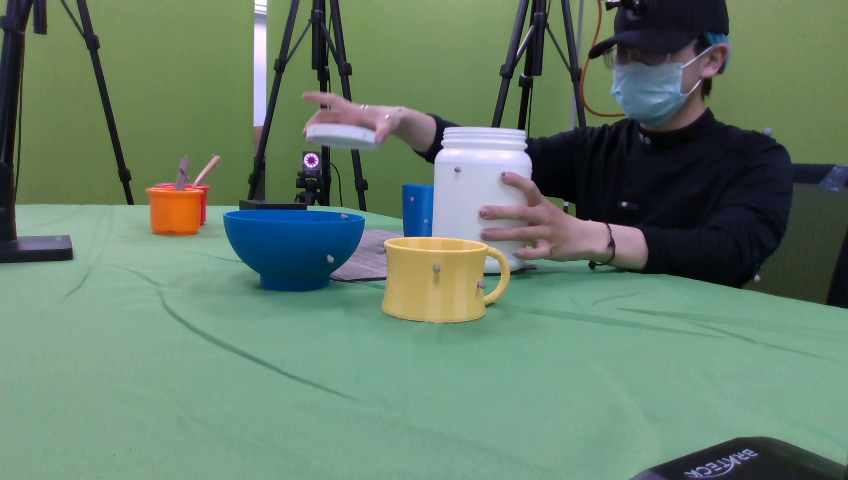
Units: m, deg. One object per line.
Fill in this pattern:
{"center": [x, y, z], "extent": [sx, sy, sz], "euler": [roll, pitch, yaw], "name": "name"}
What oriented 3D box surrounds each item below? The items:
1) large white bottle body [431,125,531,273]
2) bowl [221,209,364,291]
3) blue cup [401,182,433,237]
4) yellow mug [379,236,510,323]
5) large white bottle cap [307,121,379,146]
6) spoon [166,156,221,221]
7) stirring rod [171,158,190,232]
{"center": [0.076, -0.057, 0.808], "extent": [0.131, 0.184, 0.130], "euler": [2, 7, 0], "name": "large white bottle body"}
{"center": [-0.142, 0.011, 0.660], "extent": [0.151, 0.077, 0.151], "euler": [2, 7, 0], "name": "bowl"}
{"center": [0.002, -0.039, 0.966], "extent": [0.093, 0.100, 0.092], "euler": [4, 9, 0], "name": "blue cup"}
{"center": [0.024, 0.034, 0.575], "extent": [0.131, 0.064, 0.099], "euler": [1, 7, -22], "name": "yellow mug"}
{"center": [-0.128, -0.169, 0.965], "extent": [0.115, 0.018, 0.115], "euler": [4, -1, 0], "name": "large white bottle cap"}
{"center": [-0.447, -0.104, 1.192], "extent": [0.041, 0.022, 0.193], "euler": [7, 52, 14], "name": "spoon"}
{"center": [-0.426, -0.082, 1.060], "extent": [0.014, 0.006, 0.175], "euler": [1, 50, -13], "name": "stirring rod"}
